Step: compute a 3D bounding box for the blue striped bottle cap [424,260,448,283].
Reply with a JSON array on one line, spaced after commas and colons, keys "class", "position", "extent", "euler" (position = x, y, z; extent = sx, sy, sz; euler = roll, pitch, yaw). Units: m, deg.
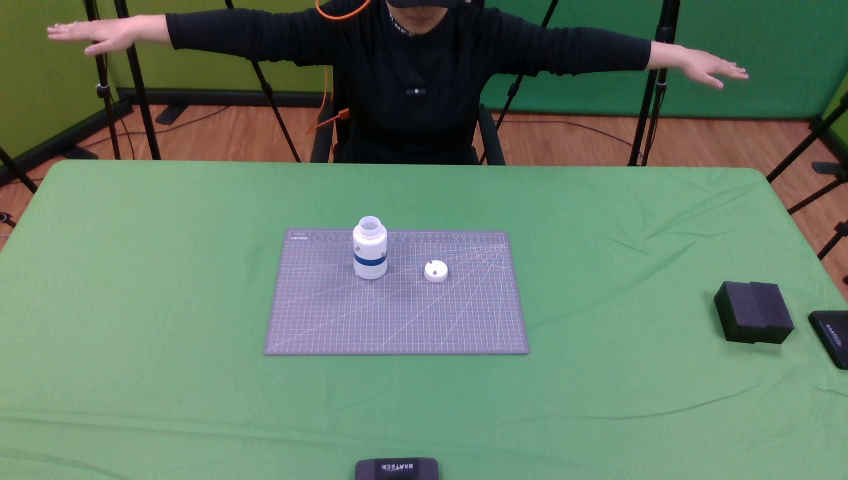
[{"class": "blue striped bottle cap", "position": [0.022, 0.059, 1.145], "extent": [0.044, 0.021, 0.044], "euler": [2, 47, -2]}]

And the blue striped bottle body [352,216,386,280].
[{"class": "blue striped bottle body", "position": [-0.100, 0.012, 1.107], "extent": [0.063, 0.121, 0.062], "euler": [2, 46, -2]}]
